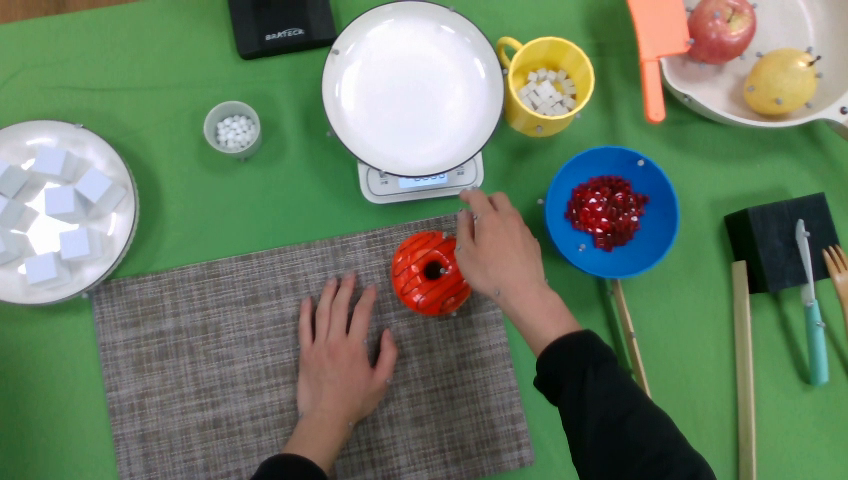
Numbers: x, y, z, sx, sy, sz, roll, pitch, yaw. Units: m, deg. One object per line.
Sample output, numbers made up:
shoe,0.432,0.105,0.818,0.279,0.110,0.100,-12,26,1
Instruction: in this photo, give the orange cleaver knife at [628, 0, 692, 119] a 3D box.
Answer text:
orange cleaver knife,0.270,-0.245,0.701,0.077,0.012,0.210,-7,84,-2

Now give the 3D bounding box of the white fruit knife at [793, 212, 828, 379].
white fruit knife,0.448,0.068,0.706,0.016,0.027,0.208,-14,98,-5

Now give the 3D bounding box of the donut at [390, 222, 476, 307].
donut,0.010,0.028,0.691,0.099,0.048,0.099,0,84,-3

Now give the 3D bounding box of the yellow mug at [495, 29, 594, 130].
yellow mug,0.133,-0.200,0.722,0.100,0.064,0.130,-44,87,-8

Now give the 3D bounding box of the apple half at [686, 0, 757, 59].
apple half,0.351,-0.252,0.737,0.081,0.074,0.053,30,85,-3

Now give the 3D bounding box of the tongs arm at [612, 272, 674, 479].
tongs arm,0.283,0.215,0.696,0.051,0.026,0.383,-10,85,-9

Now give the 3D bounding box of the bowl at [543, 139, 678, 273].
bowl,0.204,-0.034,0.701,0.151,0.077,0.151,1,83,-4

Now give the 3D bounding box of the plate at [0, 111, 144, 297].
plate,-0.416,-0.039,0.674,0.208,0.039,0.207,1,82,-4

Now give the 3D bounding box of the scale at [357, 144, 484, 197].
scale,-0.012,-0.157,0.723,0.149,0.031,0.200,-7,84,-5

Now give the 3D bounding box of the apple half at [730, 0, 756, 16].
apple half,0.369,-0.286,0.742,0.081,0.081,0.033,29,84,0

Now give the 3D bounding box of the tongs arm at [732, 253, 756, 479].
tongs arm,0.368,0.207,0.707,0.028,0.028,0.386,4,83,-11

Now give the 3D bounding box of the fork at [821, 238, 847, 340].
fork,0.504,0.097,0.714,0.028,0.018,0.208,-21,100,-9

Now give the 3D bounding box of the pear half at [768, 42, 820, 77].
pear half,0.444,-0.220,0.732,0.070,0.088,0.031,19,81,4

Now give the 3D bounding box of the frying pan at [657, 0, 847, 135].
frying pan,0.464,-0.200,0.728,0.307,0.103,0.485,-38,79,-7

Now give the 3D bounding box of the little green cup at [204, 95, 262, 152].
little green cup,-0.218,-0.132,0.701,0.061,0.039,0.061,1,82,-4

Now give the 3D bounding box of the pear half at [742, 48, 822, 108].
pear half,0.426,-0.191,0.717,0.076,0.110,0.056,24,82,3

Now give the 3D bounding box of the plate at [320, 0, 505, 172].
plate,-0.012,-0.176,0.693,0.209,0.038,0.208,1,82,-5
